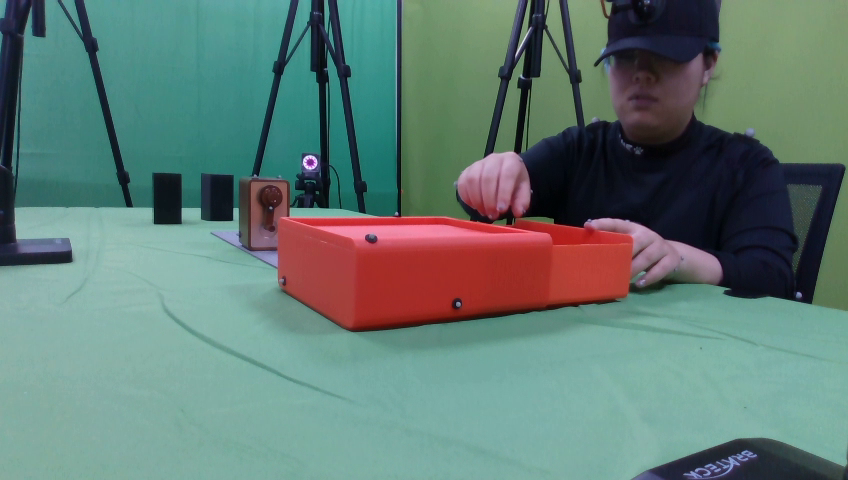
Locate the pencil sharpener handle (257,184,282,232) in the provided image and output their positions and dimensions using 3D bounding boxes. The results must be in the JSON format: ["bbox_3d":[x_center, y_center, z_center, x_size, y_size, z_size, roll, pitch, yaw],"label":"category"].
[{"bbox_3d":[-0.219,-0.046,0.865,0.036,0.067,0.030,6,5,-29],"label":"pencil sharpener handle"}]

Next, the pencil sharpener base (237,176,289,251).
[{"bbox_3d":[-0.243,-0.040,0.911,0.061,0.107,0.076,-1,8,-28],"label":"pencil sharpener base"}]

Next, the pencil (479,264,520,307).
[{"bbox_3d":[0.083,0.049,0.675,0.012,0.012,0.193,2,9,-5],"label":"pencil"}]

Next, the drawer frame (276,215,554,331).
[{"bbox_3d":[-0.015,0.022,0.610,0.215,0.082,0.200,-2,9,-32],"label":"drawer frame"}]

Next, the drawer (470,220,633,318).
[{"bbox_3d":[0.085,0.024,0.673,0.213,0.073,0.193,-4,10,-32],"label":"drawer"}]
